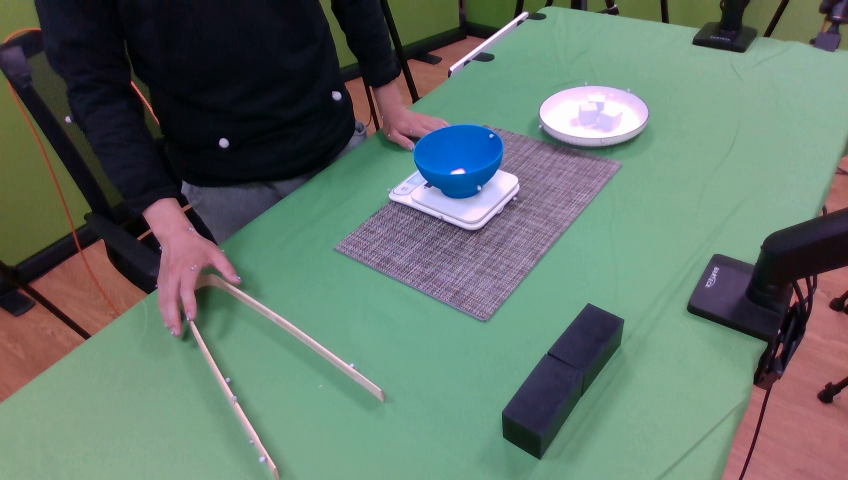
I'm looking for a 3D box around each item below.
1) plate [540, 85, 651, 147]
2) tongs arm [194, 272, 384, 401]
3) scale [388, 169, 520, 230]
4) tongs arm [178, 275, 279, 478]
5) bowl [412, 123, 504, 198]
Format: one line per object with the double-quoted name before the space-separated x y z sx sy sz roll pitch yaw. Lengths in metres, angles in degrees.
"plate" 0.333 -0.238 1.186 0.207 0.039 0.206 -4 41 4
"tongs arm" -0.199 0.124 0.846 0.384 0.028 0.028 25 53 32
"scale" 0.050 -0.090 1.051 0.199 0.032 0.149 24 49 31
"tongs arm" -0.260 0.161 0.806 0.051 0.026 0.381 -29 44 -24
"bowl" 0.060 -0.123 1.007 0.151 0.077 0.150 -5 41 5
